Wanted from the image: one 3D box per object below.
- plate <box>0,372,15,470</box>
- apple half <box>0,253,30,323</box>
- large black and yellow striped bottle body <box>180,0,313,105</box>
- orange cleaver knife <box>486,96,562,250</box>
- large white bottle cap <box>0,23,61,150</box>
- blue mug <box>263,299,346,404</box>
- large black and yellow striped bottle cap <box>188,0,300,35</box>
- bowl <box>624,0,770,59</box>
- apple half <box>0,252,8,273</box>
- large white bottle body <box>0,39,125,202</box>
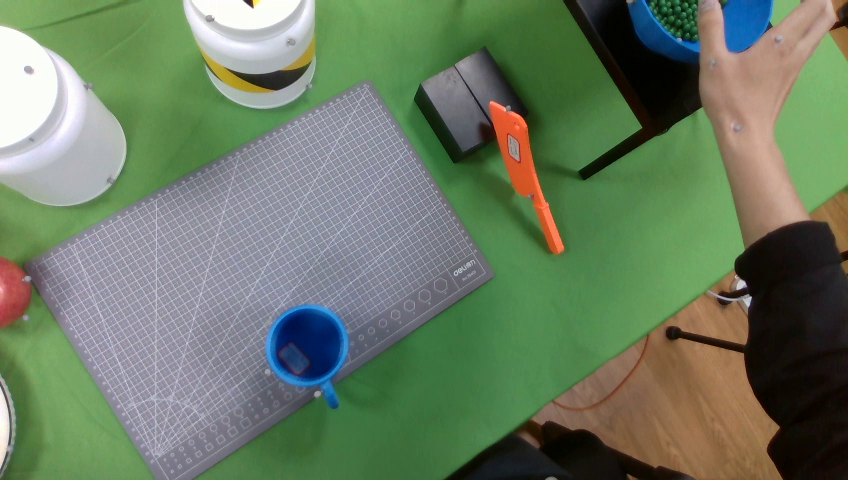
[{"bbox_3d":[-0.525,0.190,0.609,0.210,0.038,0.208,2,82,-11],"label":"plate"},{"bbox_3d":[-0.446,0.059,0.627,0.053,0.074,0.080,44,73,-6],"label":"apple half"},{"bbox_3d":[-0.189,-0.240,0.664,0.131,0.184,0.130,2,81,-10],"label":"large black and yellow striped bottle body"},{"bbox_3d":[0.124,-0.080,0.751,0.012,0.076,0.213,-33,120,-15],"label":"orange cleaver knife"},{"bbox_3d":[-0.379,-0.133,0.523,0.115,0.018,0.114,2,81,-10],"label":"large white bottle cap"},{"bbox_3d":[-0.122,0.124,0.661,0.082,0.106,0.116,-24,87,-13],"label":"blue mug"},{"bbox_3d":[-0.175,-0.255,0.582,0.115,0.019,0.114,2,82,-12],"label":"large black and yellow striped bottle cap"},{"bbox_3d":[0.264,-0.248,0.624,0.152,0.077,0.151,2,81,-10],"label":"bowl"},{"bbox_3d":[-0.474,0.032,0.624,0.033,0.081,0.081,44,76,-7],"label":"apple half"},{"bbox_3d":[-0.394,-0.120,0.605,0.131,0.184,0.130,2,80,-10],"label":"large white bottle body"}]
